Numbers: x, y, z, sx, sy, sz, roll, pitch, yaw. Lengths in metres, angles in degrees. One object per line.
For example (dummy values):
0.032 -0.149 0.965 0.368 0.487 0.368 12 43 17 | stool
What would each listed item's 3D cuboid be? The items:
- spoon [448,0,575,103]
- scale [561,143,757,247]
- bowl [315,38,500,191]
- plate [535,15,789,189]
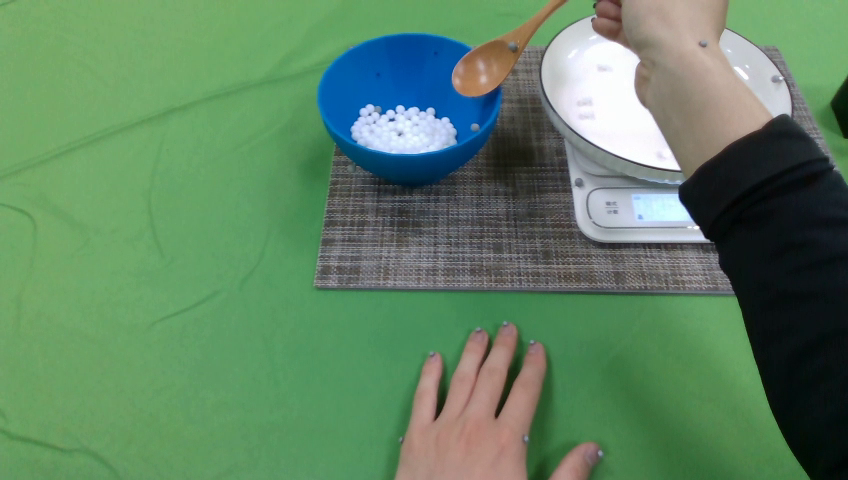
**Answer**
0.095 -0.168 0.454 0.022 0.194 0.041 7 55 -52 | spoon
0.197 -0.081 0.535 0.149 0.032 0.199 0 54 1 | scale
-0.012 -0.095 0.520 0.151 0.077 0.150 0 54 1 | bowl
0.198 -0.119 0.522 0.209 0.038 0.207 0 54 0 | plate
